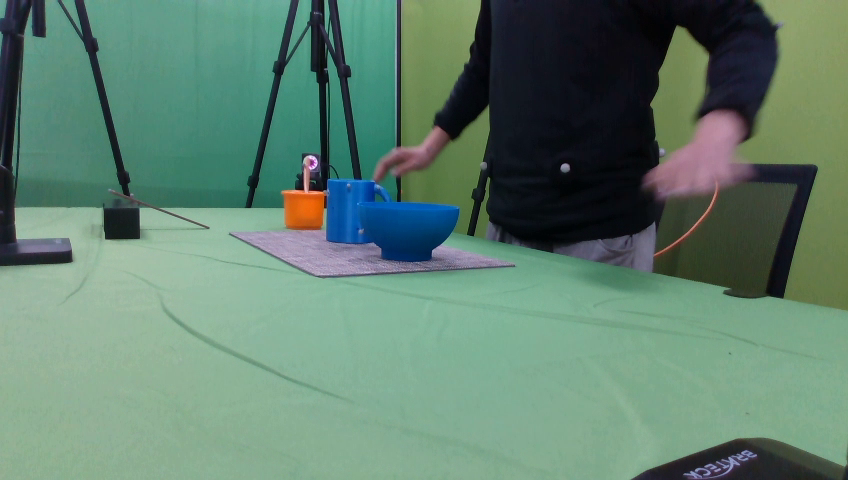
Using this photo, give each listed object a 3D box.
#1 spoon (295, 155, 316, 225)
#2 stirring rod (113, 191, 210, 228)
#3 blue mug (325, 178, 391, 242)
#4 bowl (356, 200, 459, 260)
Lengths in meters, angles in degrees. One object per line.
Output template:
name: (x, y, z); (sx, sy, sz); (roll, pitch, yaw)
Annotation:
spoon: (-0.247, -0.108, 1.262); (0.042, 0.021, 0.193); (5, 46, -16)
stirring rod: (-0.484, -0.055, 1.121); (0.177, 0.006, 0.014); (22, -6, -22)
blue mug: (-0.111, -0.052, 1.034); (0.116, 0.106, 0.082); (3, 7, 7)
bowl: (-0.025, -0.015, 0.877); (0.151, 0.077, 0.151); (2, 7, 0)
